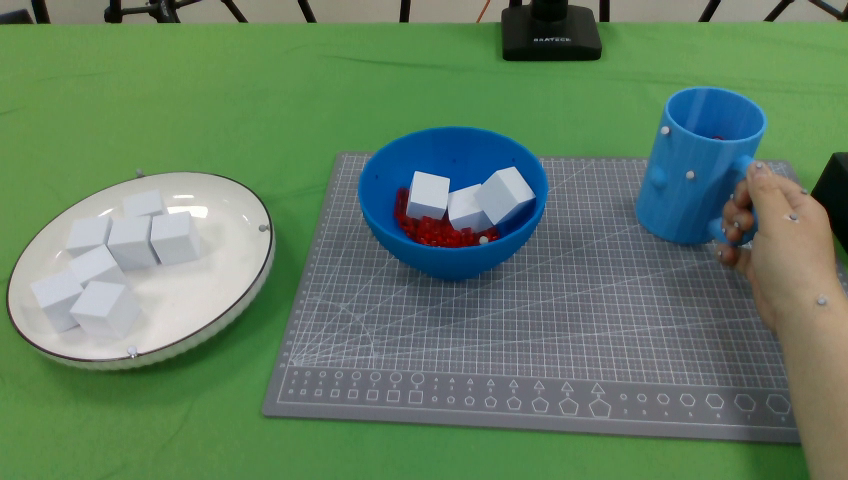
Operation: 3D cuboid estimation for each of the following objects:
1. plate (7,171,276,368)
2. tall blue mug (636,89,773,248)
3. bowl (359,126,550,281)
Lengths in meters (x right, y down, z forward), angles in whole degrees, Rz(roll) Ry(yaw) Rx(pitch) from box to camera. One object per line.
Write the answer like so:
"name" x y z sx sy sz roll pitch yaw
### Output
"plate" -0.226 0.021 0.505 0.209 0.038 0.207 -1 46 1
"tall blue mug" 0.240 -0.053 0.502 0.106 0.109 0.077 32 55 28
"bowl" 0.025 -0.019 0.501 0.151 0.077 0.150 -1 46 2
